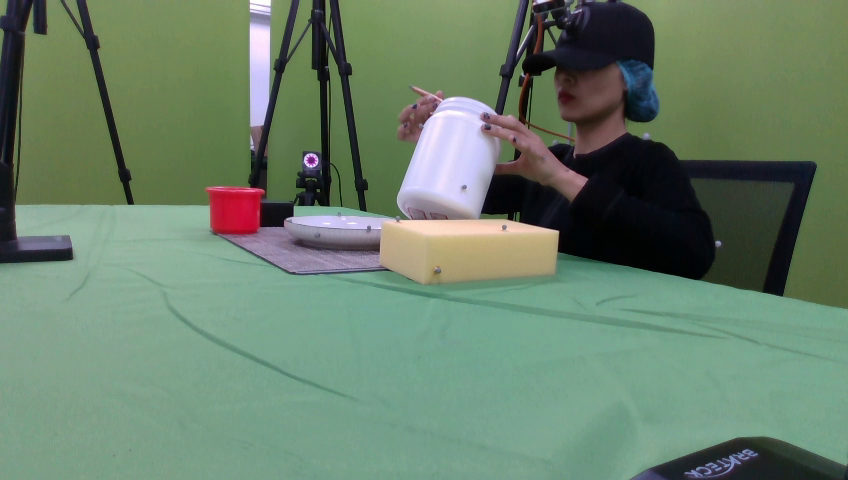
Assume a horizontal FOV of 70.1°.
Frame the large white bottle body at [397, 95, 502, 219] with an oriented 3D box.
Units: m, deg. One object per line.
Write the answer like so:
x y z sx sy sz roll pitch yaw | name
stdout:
0.045 -0.119 0.941 0.130 0.184 0.130 17 -19 6 | large white bottle body

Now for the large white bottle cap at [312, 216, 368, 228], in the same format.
-0.171 -0.038 1.234 0.115 0.018 0.115 2 5 0 | large white bottle cap

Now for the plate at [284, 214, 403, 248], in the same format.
-0.122 -0.015 0.984 0.209 0.038 0.209 2 7 0 | plate

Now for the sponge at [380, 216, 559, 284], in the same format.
0.059 0.008 0.786 0.208 0.061 0.117 -3 11 -32 | sponge

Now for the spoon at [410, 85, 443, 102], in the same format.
0.031 -0.231 1.023 0.042 0.021 0.193 8 27 -40 | spoon
